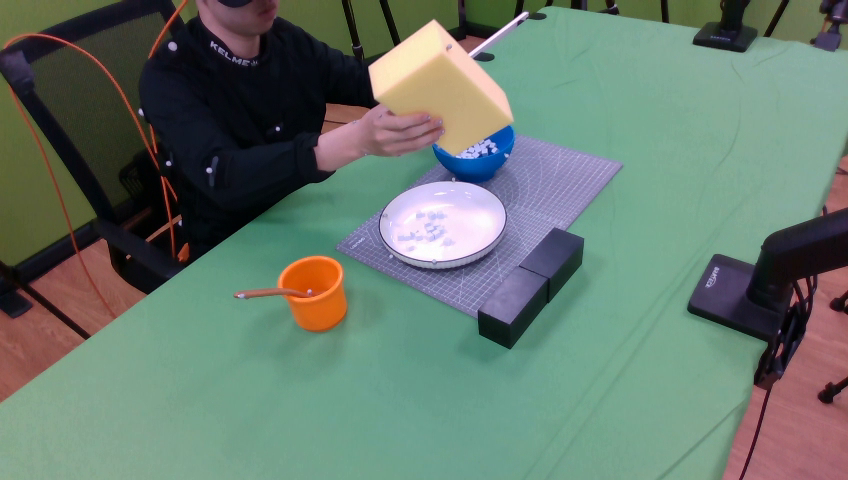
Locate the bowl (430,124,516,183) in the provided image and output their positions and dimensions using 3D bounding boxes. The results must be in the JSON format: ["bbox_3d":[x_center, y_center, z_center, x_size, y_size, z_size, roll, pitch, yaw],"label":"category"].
[{"bbox_3d":[0.090,-0.155,1.089,0.151,0.077,0.150,-3,40,3],"label":"bowl"}]

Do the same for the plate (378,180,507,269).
[{"bbox_3d":[0.031,-0.022,0.974,0.209,0.038,0.208,-4,40,4],"label":"plate"}]

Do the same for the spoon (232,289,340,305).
[{"bbox_3d":[-0.181,0.074,0.812,0.041,0.195,0.021,15,90,31],"label":"spoon"}]

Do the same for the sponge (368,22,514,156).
[{"bbox_3d":[0.030,-0.212,0.891,0.118,0.209,0.060,-27,60,26],"label":"sponge"}]
